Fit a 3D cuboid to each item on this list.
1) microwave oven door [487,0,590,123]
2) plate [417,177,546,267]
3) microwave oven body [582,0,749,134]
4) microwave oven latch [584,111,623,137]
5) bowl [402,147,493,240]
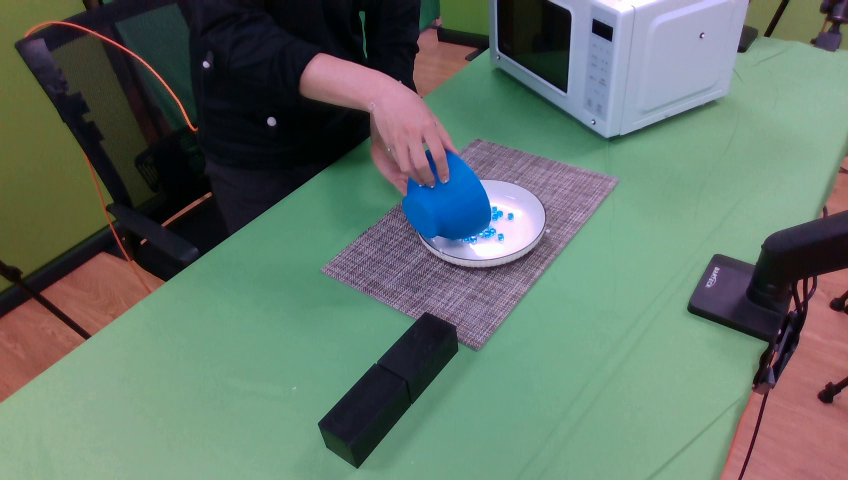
[{"bbox_3d":[0.232,-0.420,1.231,0.039,0.245,0.352,-22,43,-16],"label":"microwave oven door"},{"bbox_3d":[0.090,-0.026,0.970,0.207,0.039,0.206,-4,41,4],"label":"plate"},{"bbox_3d":[0.382,-0.444,1.246,0.327,0.261,0.437,-22,42,-16],"label":"microwave oven body"},{"bbox_3d":[0.337,-0.222,1.142,0.030,0.029,0.078,-21,42,-14],"label":"microwave oven latch"},{"bbox_3d":[0.020,-0.054,0.892,0.077,0.152,0.150,-38,49,-24],"label":"bowl"}]
